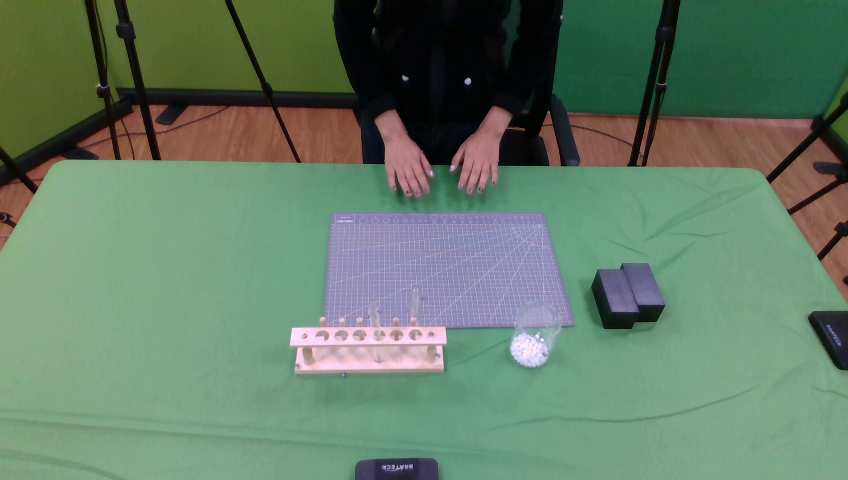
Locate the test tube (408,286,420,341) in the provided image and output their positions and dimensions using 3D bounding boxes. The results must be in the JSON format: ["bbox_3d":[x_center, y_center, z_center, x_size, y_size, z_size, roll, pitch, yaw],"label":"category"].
[{"bbox_3d":[-0.017,0.123,0.974,0.017,0.151,0.017,2,48,-2],"label":"test tube"}]

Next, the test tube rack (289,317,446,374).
[{"bbox_3d":[-0.089,0.167,0.988,0.242,0.085,0.066,0,46,-4],"label":"test tube rack"}]

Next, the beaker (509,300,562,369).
[{"bbox_3d":[0.182,0.162,1.005,0.074,0.101,0.083,-3,47,-7],"label":"beaker"}]

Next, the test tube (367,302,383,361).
[{"bbox_3d":[-0.075,0.145,0.941,0.017,0.151,0.017,0,49,0],"label":"test tube"}]
